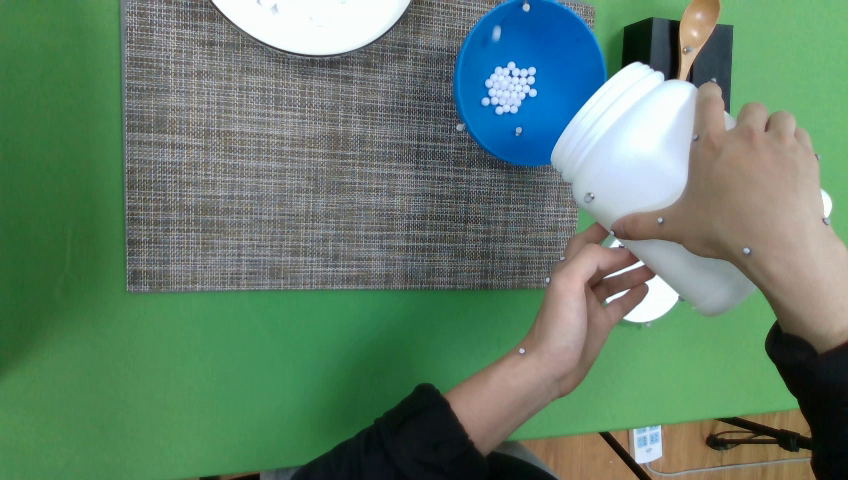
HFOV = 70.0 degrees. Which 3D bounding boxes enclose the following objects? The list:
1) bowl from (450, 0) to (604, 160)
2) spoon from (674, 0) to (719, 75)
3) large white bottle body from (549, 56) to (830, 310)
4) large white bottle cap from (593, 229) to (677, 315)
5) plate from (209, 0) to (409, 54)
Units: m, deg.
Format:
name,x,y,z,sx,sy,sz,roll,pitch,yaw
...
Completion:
name,x,y,z,sx,sy,sz,roll,pitch,yaw
bowl,0.088,-0.152,0.585,0.152,0.076,0.151,-2,98,-16
spoon,0.255,-0.159,0.621,0.042,0.021,0.194,13,99,-21
large white bottle body,0.205,-0.049,0.493,0.130,0.131,0.183,-42,75,-7
large white bottle cap,0.248,0.030,0.696,0.115,0.018,0.115,-3,99,-17
plate,-0.105,-0.266,0.531,0.210,0.038,0.209,-1,95,-17
